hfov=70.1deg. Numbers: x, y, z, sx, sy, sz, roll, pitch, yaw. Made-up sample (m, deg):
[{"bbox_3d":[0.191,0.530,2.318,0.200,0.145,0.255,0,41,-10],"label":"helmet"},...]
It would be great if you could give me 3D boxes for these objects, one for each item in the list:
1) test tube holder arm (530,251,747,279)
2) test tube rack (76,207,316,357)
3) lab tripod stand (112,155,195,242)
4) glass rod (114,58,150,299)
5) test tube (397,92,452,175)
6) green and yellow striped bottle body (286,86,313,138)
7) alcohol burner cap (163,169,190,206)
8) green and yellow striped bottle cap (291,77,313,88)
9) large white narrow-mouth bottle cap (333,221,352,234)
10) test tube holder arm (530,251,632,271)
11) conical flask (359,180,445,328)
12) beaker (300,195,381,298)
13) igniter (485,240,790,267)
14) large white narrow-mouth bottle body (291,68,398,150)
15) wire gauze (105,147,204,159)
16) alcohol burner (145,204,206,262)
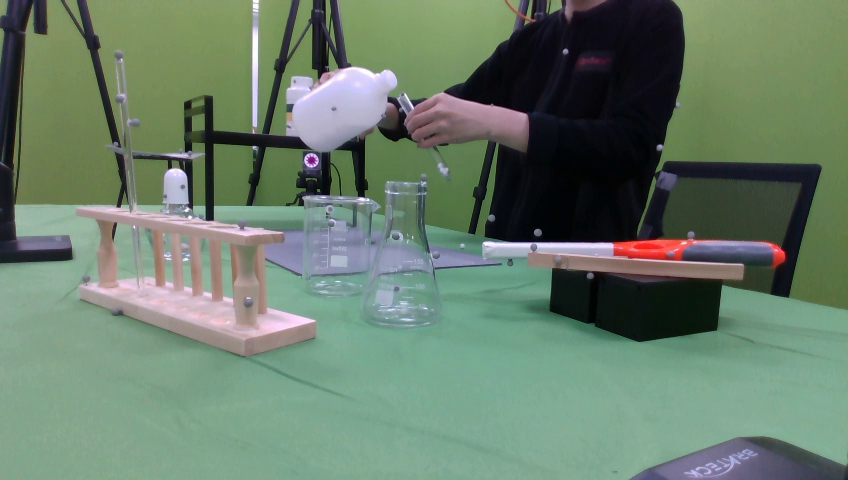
[{"bbox_3d":[0.182,0.022,0.523,0.178,0.015,0.013,3,7,12],"label":"test tube holder arm"},{"bbox_3d":[-0.196,0.023,0.500,0.241,0.085,0.067,8,9,36],"label":"test tube rack"},{"bbox_3d":[-0.405,-0.064,0.931,0.148,0.131,0.148,1,7,0],"label":"lab tripod stand"},{"bbox_3d":[-0.236,-0.044,0.492,0.008,0.199,0.008,0,15,0],"label":"glass rod"},{"bbox_3d":[0.001,-0.163,0.928,0.017,0.150,0.017,-30,-8,-4],"label":"test tube"},{"bbox_3d":[-0.251,-0.270,1.245,0.063,0.119,0.063,2,7,0],"label":"green and yellow striped bottle body"},{"bbox_3d":[-0.321,-0.068,0.782,0.034,0.048,0.034,1,7,0],"label":"alcohol burner cap"},{"bbox_3d":[-0.250,-0.321,1.238,0.045,0.020,0.045,3,6,0],"label":"green and yellow striped bottle cap"},{"bbox_3d":[-0.152,-0.024,1.134,0.038,0.024,0.037,4,7,0],"label":"large white narrow-mouth bottle cap"},{"bbox_3d":[0.139,0.019,0.538,0.087,0.015,0.010,3,7,13],"label":"test tube holder arm"},{"bbox_3d":[-0.017,0.010,0.522,0.075,0.122,0.075,2,7,0],"label":"conical flask"},{"bbox_3d":[-0.087,0.006,0.626,0.084,0.100,0.074,1,8,-17],"label":"beaker"},{"bbox_3d":[0.197,0.012,0.585,0.276,0.025,0.057,1,5,12],"label":"igniter"},{"bbox_3d":[-0.123,-0.225,0.997,0.194,0.101,0.102,-19,-6,35],"label":"large white narrow-mouth bottle body"},{"bbox_3d":[-0.407,-0.131,0.929,0.125,0.011,0.121,2,6,-11],"label":"wire gauze"},{"bbox_3d":[-0.321,-0.032,0.788,0.078,0.119,0.078,1,7,0],"label":"alcohol burner"}]
